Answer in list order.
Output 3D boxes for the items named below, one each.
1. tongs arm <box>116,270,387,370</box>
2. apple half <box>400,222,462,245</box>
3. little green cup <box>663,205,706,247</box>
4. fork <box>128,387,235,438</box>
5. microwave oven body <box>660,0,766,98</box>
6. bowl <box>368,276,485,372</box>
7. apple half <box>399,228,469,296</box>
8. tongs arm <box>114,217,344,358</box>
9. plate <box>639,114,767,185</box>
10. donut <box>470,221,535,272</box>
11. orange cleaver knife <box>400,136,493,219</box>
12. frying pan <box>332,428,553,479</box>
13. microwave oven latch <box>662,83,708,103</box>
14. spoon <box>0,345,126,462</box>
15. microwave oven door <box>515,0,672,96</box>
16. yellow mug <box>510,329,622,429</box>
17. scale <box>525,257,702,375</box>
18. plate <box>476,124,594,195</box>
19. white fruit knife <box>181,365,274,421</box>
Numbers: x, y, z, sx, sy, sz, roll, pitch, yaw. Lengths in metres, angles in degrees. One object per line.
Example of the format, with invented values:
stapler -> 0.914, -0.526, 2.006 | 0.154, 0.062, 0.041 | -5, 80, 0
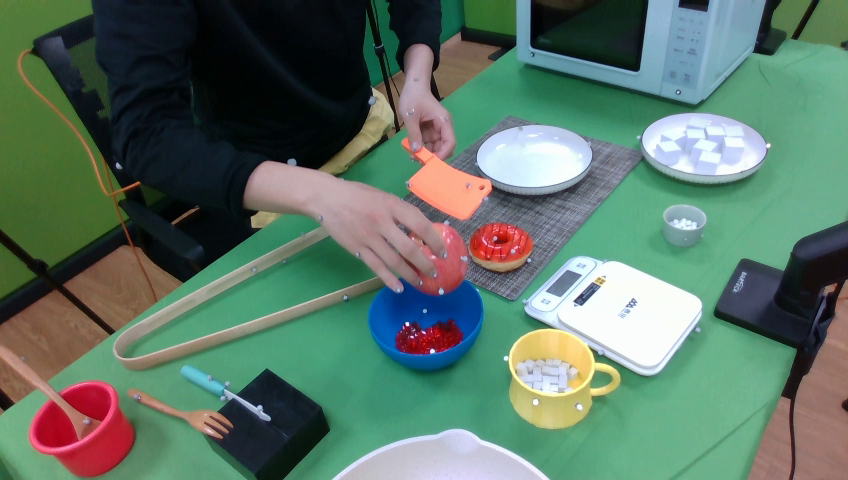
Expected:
tongs arm -> -0.237, 0.112, 0.868 | 0.389, 0.028, 0.028 | -19, 47, -12
apple half -> 0.012, 0.007, 0.719 | 0.081, 0.081, 0.032 | -4, 42, 5
little green cup -> 0.396, -0.020, 0.926 | 0.061, 0.039, 0.061 | -4, 40, 4
fork -> -0.305, 0.208, 0.744 | 0.206, 0.019, 0.028 | 3, 42, 36
microwave oven body -> 0.472, -0.513, 1.317 | 0.438, 0.261, 0.327 | 26, 51, 34
bowl -> 0.007, 0.119, 0.791 | 0.151, 0.077, 0.150 | -5, 39, 4
apple half -> 0.012, 0.032, 0.690 | 0.080, 0.075, 0.053 | -10, 41, 10
tongs arm -> -0.280, 0.067, 0.927 | 0.386, 0.026, 0.050 | -29, 47, -23
plate -> 0.489, -0.157, 1.074 | 0.207, 0.039, 0.206 | -4, 40, 4
donut -> 0.119, 0.009, 0.923 | 0.099, 0.048, 0.098 | -3, 39, 3
orange cleaver knife -> 0.013, -0.089, 0.827 | 0.077, 0.012, 0.209 | -38, 44, -12
frying pan -> -0.089, 0.306, 0.564 | 0.487, 0.103, 0.306 | 10, 41, 7
microwave oven latch -> 0.517, -0.296, 1.204 | 0.078, 0.029, 0.030 | 28, 52, 35
spoon -> -0.434, 0.192, 0.720 | 0.194, 0.021, 0.042 | 47, 53, -7
microwave oven door -> 0.343, -0.454, 1.259 | 0.353, 0.245, 0.039 | 26, 51, 33
yellow mug -> 0.168, 0.164, 0.722 | 0.130, 0.064, 0.099 | 0, 40, 8
scale -> 0.254, 0.091, 0.821 | 0.199, 0.032, 0.149 | 28, 50, 35
plate -> 0.199, -0.141, 1.093 | 0.209, 0.038, 0.208 | -4, 40, 4
white fruit knife -> -0.245, 0.187, 0.747 | 0.205, 0.027, 0.016 | 9, 40, 40
